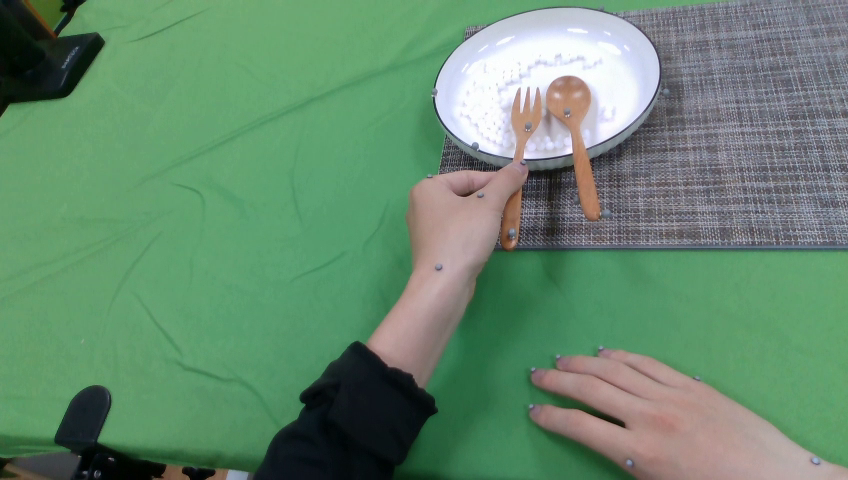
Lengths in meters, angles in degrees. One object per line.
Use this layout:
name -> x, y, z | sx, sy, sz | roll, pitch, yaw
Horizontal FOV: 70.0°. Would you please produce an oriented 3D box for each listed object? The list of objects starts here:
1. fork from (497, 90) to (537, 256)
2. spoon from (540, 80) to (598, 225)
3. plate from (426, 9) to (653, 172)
fork -> 0.076, -0.064, 0.502 | 0.028, 0.019, 0.205 | 5, 45, 9
spoon -> 0.124, -0.080, 0.508 | 0.041, 0.022, 0.192 | -5, 41, 10
plate -> 0.107, -0.140, 0.575 | 0.207, 0.039, 0.205 | -8, 54, 11
